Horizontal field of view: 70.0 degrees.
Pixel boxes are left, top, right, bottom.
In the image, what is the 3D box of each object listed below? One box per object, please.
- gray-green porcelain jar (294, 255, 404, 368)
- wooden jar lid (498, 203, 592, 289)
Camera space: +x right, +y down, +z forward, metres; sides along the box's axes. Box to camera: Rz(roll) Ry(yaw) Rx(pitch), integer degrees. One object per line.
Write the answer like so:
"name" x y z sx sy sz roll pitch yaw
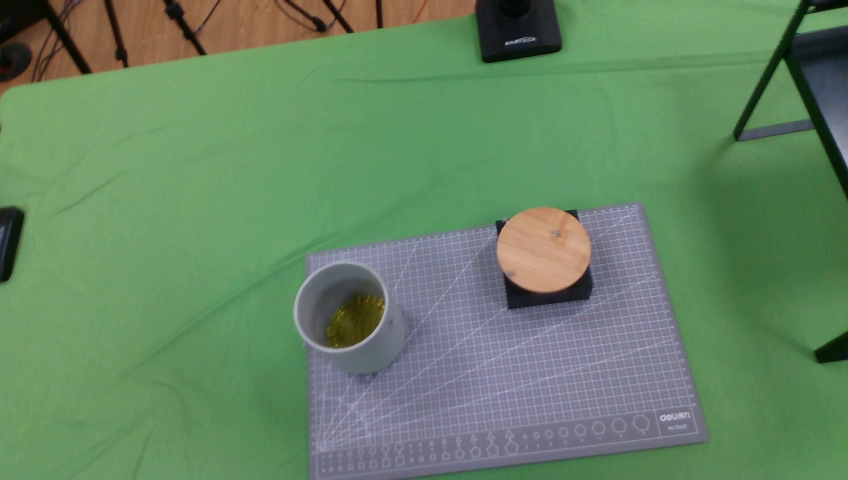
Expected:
"gray-green porcelain jar" -0.081 0.089 0.704 0.106 0.127 0.105 -3 66 7
"wooden jar lid" 0.141 0.008 0.710 0.108 0.021 0.107 -3 67 8
